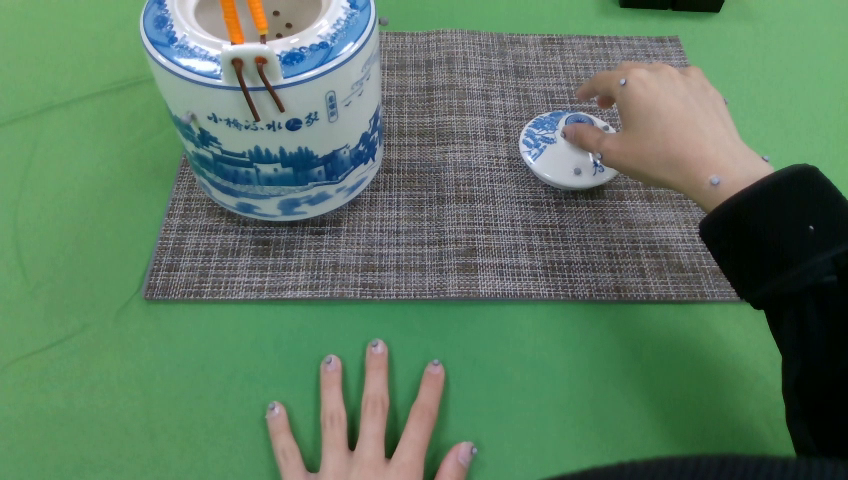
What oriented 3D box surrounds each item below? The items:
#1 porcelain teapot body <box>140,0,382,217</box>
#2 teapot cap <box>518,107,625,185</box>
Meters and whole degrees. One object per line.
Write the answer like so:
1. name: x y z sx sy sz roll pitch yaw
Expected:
1. porcelain teapot body: -0.105 -0.151 0.410 0.145 0.227 0.203 -5 55 -6
2. teapot cap: 0.118 -0.080 0.483 0.085 0.044 0.084 -1 53 2
